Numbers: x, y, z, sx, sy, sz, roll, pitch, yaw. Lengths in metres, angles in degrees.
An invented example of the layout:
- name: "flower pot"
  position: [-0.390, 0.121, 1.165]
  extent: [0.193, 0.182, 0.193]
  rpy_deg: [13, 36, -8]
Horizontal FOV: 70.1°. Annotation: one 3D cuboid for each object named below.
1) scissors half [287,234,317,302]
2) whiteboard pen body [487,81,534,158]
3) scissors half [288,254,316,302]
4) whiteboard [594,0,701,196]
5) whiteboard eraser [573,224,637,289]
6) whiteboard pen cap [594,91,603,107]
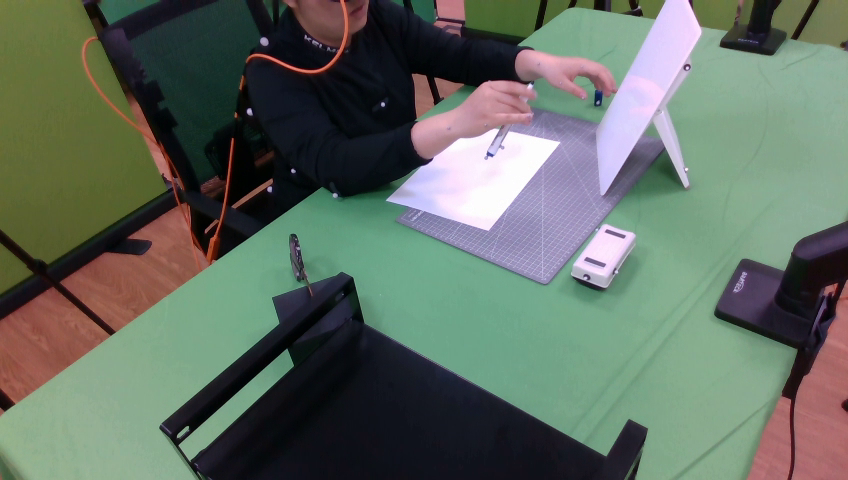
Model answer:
- name: "scissors half"
  position: [-0.179, 0.040, 0.885]
  extent: [0.013, 0.040, 0.173]
  rpy_deg: [-11, 36, -20]
- name: "whiteboard pen body"
  position: [0.144, -0.199, 1.000]
  extent: [0.017, 0.140, 0.017]
  rpy_deg: [29, 12, -6]
- name: "scissors half"
  position: [-0.178, 0.058, 0.894]
  extent: [0.013, 0.040, 0.174]
  rpy_deg: [-16, 21, -17]
- name: "whiteboard"
  position: [0.420, -0.227, 1.010]
  extent: [0.144, 0.305, 0.216]
  rpy_deg: [18, 42, -2]
- name: "whiteboard eraser"
  position: [0.267, 0.025, 0.891]
  extent: [0.055, 0.042, 0.113]
  rpy_deg: [19, 47, 31]
- name: "whiteboard pen cap"
  position: [0.364, -0.294, 1.262]
  extent: [0.018, 0.033, 0.018]
  rpy_deg: [-7, 41, 6]
